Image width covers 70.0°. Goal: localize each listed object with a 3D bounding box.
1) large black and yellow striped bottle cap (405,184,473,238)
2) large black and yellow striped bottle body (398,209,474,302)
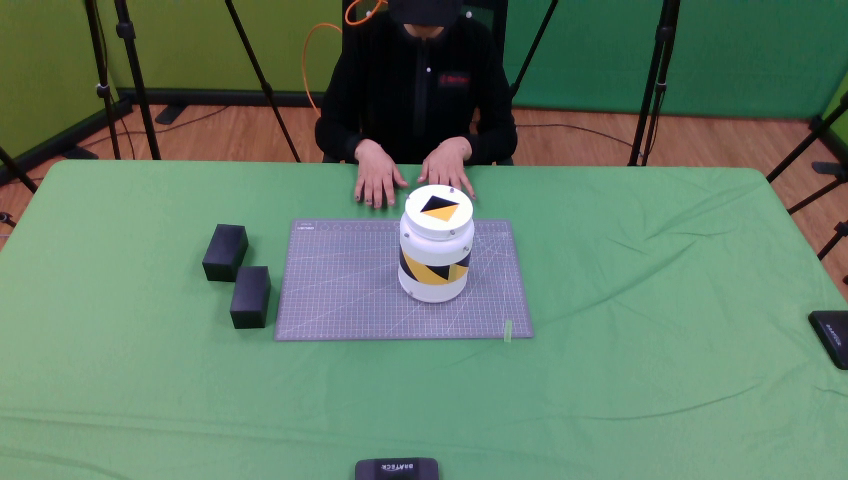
[{"bbox_3d":[0.025,-0.051,1.014,0.115,0.019,0.114,2,48,-2],"label":"large black and yellow striped bottle cap"},{"bbox_3d":[0.020,0.008,1.074,0.131,0.185,0.130,2,46,-2],"label":"large black and yellow striped bottle body"}]
